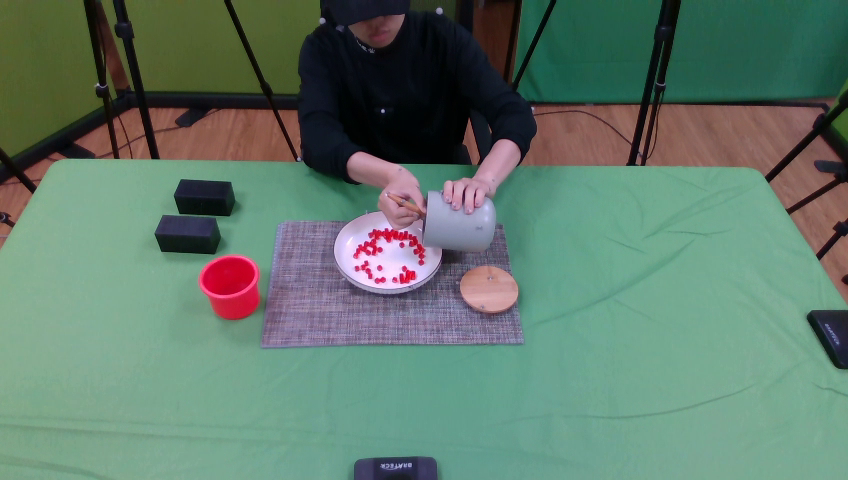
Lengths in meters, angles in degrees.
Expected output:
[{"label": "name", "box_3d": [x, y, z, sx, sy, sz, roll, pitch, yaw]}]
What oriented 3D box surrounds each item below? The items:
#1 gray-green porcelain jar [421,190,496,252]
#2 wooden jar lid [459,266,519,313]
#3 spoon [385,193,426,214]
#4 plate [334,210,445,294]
[{"label": "gray-green porcelain jar", "box_3d": [0.062, -0.034, 1.107, 0.126, 0.106, 0.105, 5, 46, -3]}, {"label": "wooden jar lid", "box_3d": [0.118, 0.093, 1.111, 0.108, 0.021, 0.107, 1, 47, -1]}, {"label": "spoon", "box_3d": [0.016, -0.051, 1.094, 0.194, 0.022, 0.041, 14, 42, -24]}, {"label": "plate", "box_3d": [-0.066, 0.026, 1.150, 0.208, 0.039, 0.206, 2, 46, -2]}]
